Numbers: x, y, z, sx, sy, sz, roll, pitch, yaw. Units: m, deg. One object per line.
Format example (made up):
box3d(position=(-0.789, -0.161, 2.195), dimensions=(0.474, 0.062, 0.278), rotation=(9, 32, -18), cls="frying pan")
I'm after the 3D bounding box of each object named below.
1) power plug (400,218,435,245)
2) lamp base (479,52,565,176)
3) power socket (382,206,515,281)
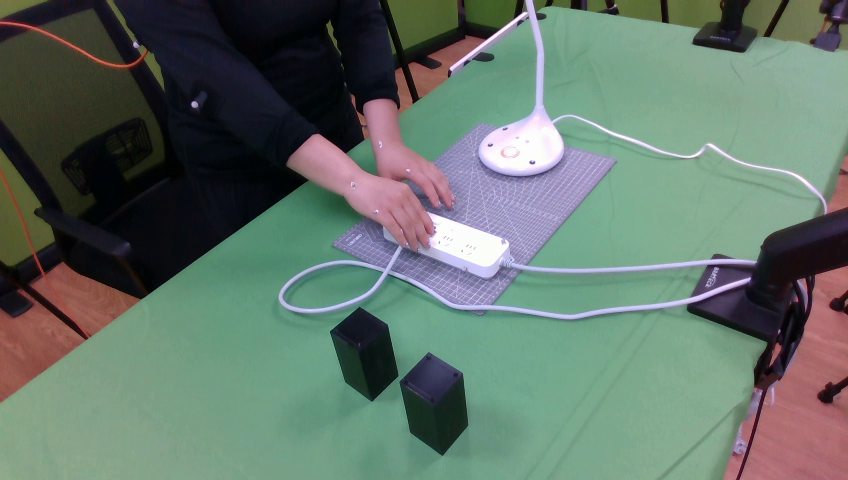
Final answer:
box3d(position=(-0.015, -0.005, 0.939), dimensions=(0.073, 0.053, 0.035), rotation=(-37, 48, -23), cls="power plug")
box3d(position=(0.182, -0.235, 1.093), dimensions=(0.159, 0.181, 0.179), rotation=(18, 44, 27), cls="lamp base")
box3d(position=(0.032, 0.002, 0.950), dimensions=(0.225, 0.033, 0.072), rotation=(21, 49, 29), cls="power socket")
